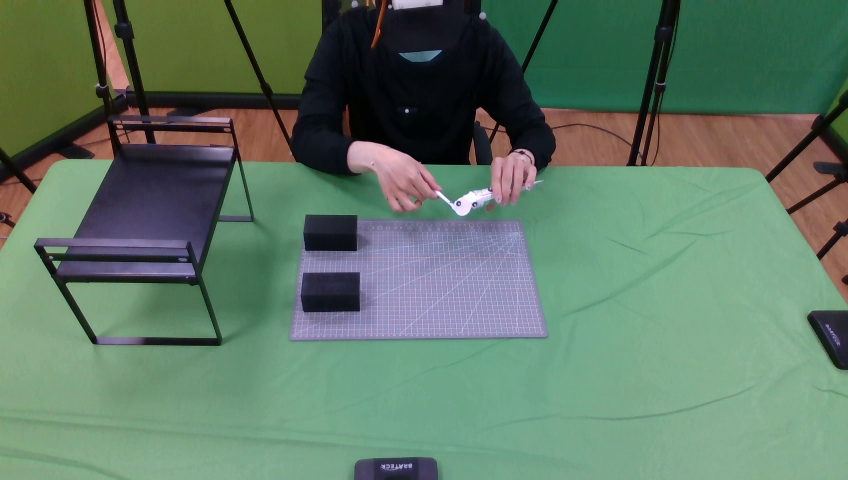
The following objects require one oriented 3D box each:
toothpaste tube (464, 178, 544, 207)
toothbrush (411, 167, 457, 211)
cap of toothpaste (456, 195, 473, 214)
[{"bbox_3d":[0.149,-0.093,1.157,0.165,0.055,0.034,-16,88,-18],"label":"toothpaste tube"},{"bbox_3d":[0.023,-0.105,1.198,0.014,0.017,0.180,-8,35,-34],"label":"toothbrush"},{"bbox_3d":[0.073,-0.066,1.114,0.037,0.037,0.011,-21,23,-22],"label":"cap of toothpaste"}]
